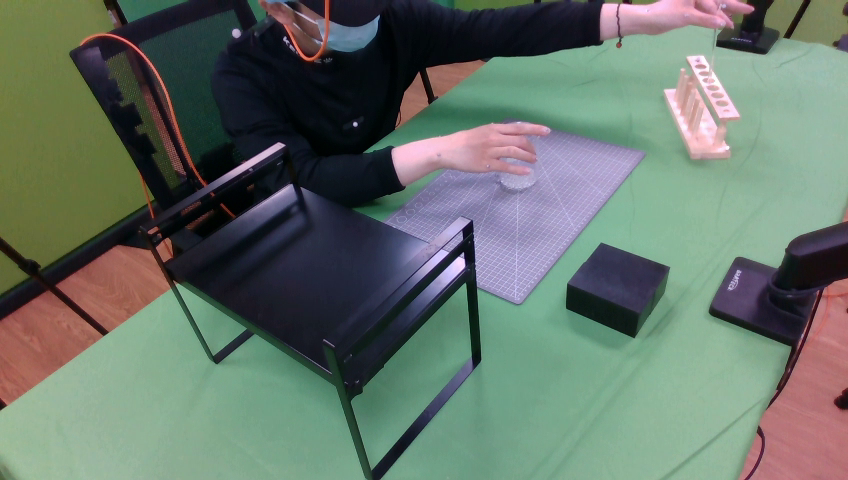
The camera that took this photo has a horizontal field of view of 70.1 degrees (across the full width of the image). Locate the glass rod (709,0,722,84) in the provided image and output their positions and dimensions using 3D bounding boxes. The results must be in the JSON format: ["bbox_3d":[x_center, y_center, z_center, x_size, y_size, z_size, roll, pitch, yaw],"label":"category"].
[{"bbox_3d":[0.500,-0.354,1.035,0.008,0.201,0.008,-9,44,9],"label":"glass rod"}]

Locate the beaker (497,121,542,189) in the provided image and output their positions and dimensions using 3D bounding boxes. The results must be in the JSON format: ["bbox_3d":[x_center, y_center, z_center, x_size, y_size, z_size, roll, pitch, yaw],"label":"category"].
[{"bbox_3d":[0.169,-0.147,1.053,0.084,0.101,0.073,-23,43,-18],"label":"beaker"}]

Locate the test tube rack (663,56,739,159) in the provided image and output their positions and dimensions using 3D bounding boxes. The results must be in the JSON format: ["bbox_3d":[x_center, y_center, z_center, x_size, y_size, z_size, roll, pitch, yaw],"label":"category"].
[{"bbox_3d":[0.518,-0.256,1.144,0.066,0.085,0.241,-1,41,8],"label":"test tube rack"}]
